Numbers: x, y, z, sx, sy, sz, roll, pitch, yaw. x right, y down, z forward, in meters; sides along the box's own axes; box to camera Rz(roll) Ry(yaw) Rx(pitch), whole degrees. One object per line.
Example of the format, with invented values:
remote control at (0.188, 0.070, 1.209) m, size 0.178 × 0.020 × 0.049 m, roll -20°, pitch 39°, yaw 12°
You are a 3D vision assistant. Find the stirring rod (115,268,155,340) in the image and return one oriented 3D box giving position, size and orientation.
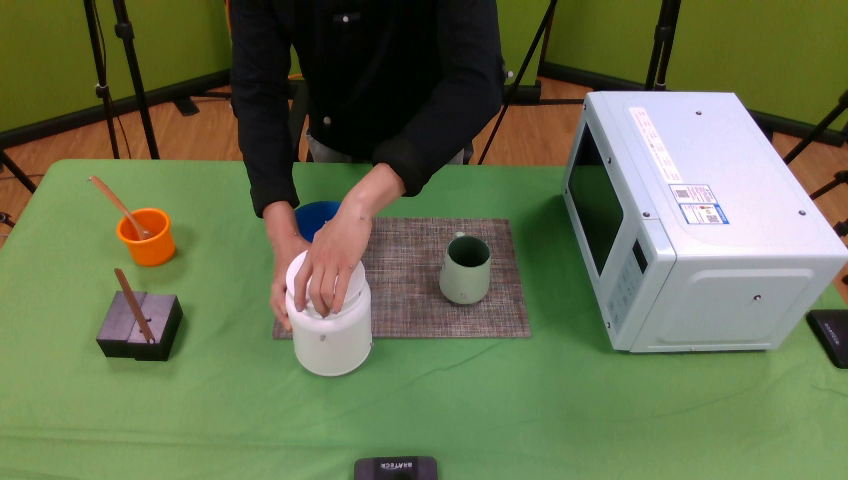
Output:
stirring rod at (-0.479, 0.102, 0.999) m, size 0.014 × 0.006 × 0.175 m, roll 8°, pitch 32°, yaw -50°

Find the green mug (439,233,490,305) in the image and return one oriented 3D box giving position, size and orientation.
green mug at (0.072, 0.044, 1.101) m, size 0.092 × 0.105 × 0.124 m, roll -6°, pitch 46°, yaw -9°

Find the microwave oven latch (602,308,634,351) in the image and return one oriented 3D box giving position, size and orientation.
microwave oven latch at (0.332, 0.153, 1.044) m, size 0.030 × 0.029 × 0.078 m, roll -1°, pitch 45°, yaw -4°

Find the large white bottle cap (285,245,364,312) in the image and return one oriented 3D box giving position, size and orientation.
large white bottle cap at (-0.145, 0.055, 0.888) m, size 0.115 × 0.018 × 0.114 m, roll 2°, pitch 49°, yaw -2°

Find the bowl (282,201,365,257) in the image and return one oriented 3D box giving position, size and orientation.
bowl at (-0.186, 0.005, 1.137) m, size 0.151 × 0.077 × 0.150 m, roll 3°, pitch 46°, yaw -3°

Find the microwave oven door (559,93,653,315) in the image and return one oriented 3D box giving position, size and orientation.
microwave oven door at (0.327, -0.074, 1.123) m, size 0.039 × 0.245 × 0.353 m, roll -1°, pitch 46°, yaw -5°

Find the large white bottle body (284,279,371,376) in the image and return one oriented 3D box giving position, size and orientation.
large white bottle body at (-0.150, 0.117, 0.959) m, size 0.131 × 0.185 × 0.130 m, roll 2°, pitch 48°, yaw -2°

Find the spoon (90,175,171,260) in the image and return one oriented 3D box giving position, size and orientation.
spoon at (-0.539, -0.042, 1.111) m, size 0.021 × 0.194 × 0.041 m, roll -15°, pitch 25°, yaw 51°

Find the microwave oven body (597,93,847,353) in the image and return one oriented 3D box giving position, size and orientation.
microwave oven body at (0.475, -0.041, 1.109) m, size 0.326 × 0.261 × 0.438 m, roll -1°, pitch 45°, yaw -4°
